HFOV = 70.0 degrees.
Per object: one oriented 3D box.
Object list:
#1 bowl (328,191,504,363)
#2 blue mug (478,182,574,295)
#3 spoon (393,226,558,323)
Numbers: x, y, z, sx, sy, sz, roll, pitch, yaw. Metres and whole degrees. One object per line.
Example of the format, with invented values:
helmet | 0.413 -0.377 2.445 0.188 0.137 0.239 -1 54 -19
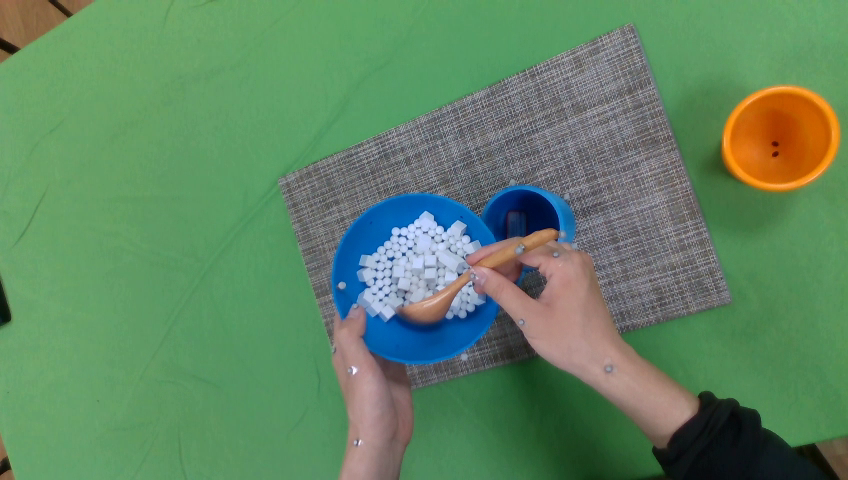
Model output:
bowl | -0.006 0.038 0.552 0.151 0.077 0.150 0 77 0
blue mug | 0.100 0.001 0.617 0.082 0.106 0.116 20 99 17
spoon | 0.034 0.031 0.488 0.194 0.042 0.021 -40 39 43
